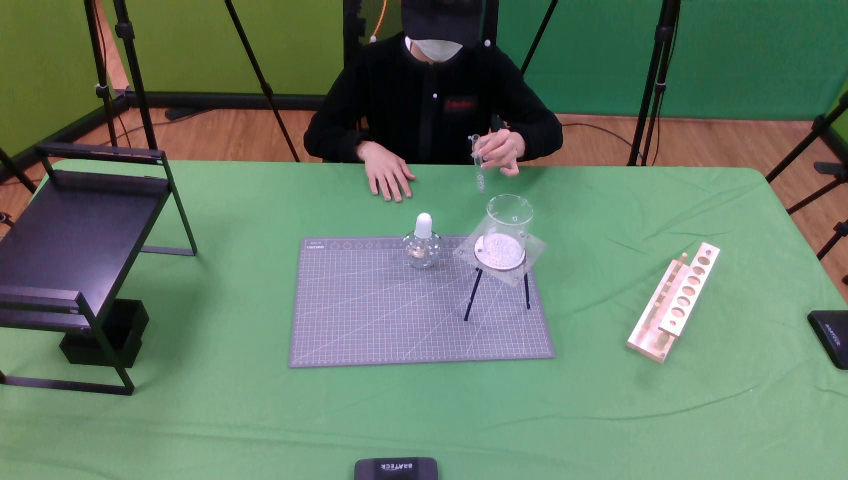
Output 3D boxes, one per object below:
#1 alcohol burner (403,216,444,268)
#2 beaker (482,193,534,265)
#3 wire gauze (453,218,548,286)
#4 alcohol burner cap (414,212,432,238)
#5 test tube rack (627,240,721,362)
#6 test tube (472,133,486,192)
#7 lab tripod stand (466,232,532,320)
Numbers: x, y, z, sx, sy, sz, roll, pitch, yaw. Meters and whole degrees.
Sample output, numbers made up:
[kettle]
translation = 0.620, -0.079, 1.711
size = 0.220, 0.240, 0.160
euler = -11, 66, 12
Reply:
[alcohol burner]
translation = -0.001, -0.004, 1.132
size = 0.078, 0.120, 0.077
euler = 1, 47, 0
[beaker]
translation = 0.135, -0.016, 0.979
size = 0.073, 0.101, 0.084
euler = 35, 52, 28
[wire gauze]
translation = 0.129, 0.014, 1.018
size = 0.124, 0.011, 0.121
euler = 26, 47, 25
[alcohol burner cap]
translation = 0.000, -0.030, 1.107
size = 0.034, 0.048, 0.033
euler = 4, 41, -3
[test tube rack]
translation = 0.452, 0.098, 1.087
size = 0.066, 0.085, 0.242
euler = 28, 51, 22
[test tube]
translation = 0.104, -0.140, 1.126
size = 0.017, 0.151, 0.017
euler = -5, 53, 7
[lab tripod stand]
translation = 0.125, 0.059, 1.065
size = 0.148, 0.132, 0.147
euler = 1, 45, 0
